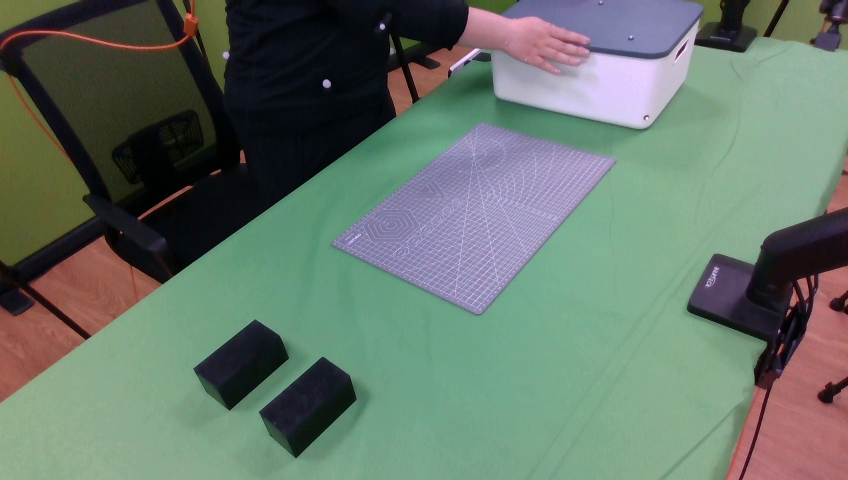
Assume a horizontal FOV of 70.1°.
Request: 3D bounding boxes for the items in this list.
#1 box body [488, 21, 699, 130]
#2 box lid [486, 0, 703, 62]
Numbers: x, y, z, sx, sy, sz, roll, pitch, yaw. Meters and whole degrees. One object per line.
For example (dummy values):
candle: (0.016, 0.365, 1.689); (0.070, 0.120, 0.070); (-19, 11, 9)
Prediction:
box body: (0.345, -0.379, 1.257); (0.361, 0.161, 0.255); (20, 48, 29)
box lid: (0.338, -0.434, 1.208); (0.368, 0.015, 0.264); (20, 47, 29)
